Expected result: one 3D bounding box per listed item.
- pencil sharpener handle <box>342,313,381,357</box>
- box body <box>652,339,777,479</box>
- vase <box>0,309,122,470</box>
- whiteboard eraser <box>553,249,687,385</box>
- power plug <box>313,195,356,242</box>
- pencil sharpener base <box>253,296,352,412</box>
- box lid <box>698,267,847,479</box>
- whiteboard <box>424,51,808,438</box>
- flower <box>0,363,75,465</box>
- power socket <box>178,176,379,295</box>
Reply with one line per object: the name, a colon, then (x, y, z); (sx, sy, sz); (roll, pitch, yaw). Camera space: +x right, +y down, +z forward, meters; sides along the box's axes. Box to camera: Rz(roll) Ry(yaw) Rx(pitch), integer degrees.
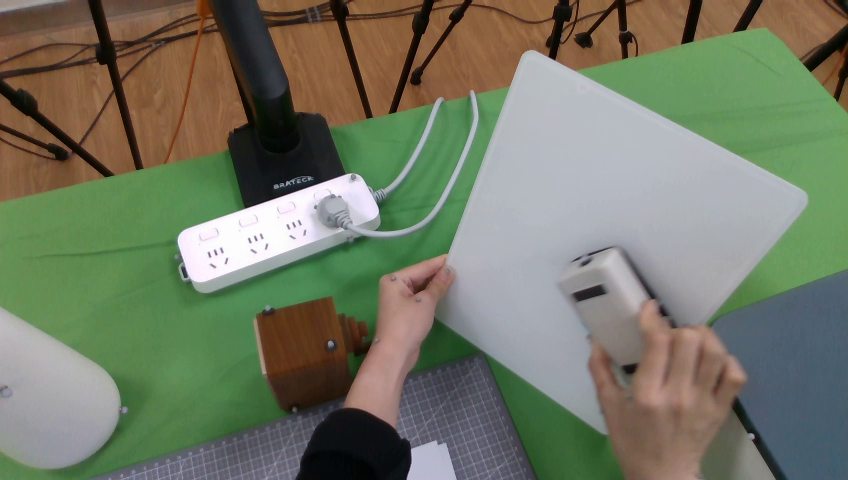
pencil sharpener handle: (-0.055, 0.088, 0.554); (0.031, 0.068, 0.035); (-13, 60, -12)
box body: (0.387, 0.219, 0.484); (0.254, 0.161, 0.360); (-16, 61, -13)
vase: (-0.322, 0.117, 0.479); (0.098, 0.201, 0.097); (1, 59, -1)
whiteboard eraser: (0.156, 0.061, 0.482); (0.113, 0.055, 0.042); (54, 46, -7)
power plug: (-0.095, -0.015, 0.643); (0.035, 0.053, 0.072); (-12, 62, -10)
pencil sharpener base: (-0.105, 0.106, 0.554); (0.077, 0.108, 0.061); (-13, 60, -12)
box lid: (0.390, 0.177, 0.421); (0.264, 0.015, 0.367); (-16, 61, -13)
whiteboard: (0.160, -0.004, 0.557); (0.216, 0.307, 0.143); (34, 44, 17)
flower: (-0.319, 0.058, 0.419); (0.038, 0.365, 0.043); (-27, 46, -26)
power socket: (-0.155, -0.008, 0.662); (0.227, 0.033, 0.071); (-21, 63, -16)
